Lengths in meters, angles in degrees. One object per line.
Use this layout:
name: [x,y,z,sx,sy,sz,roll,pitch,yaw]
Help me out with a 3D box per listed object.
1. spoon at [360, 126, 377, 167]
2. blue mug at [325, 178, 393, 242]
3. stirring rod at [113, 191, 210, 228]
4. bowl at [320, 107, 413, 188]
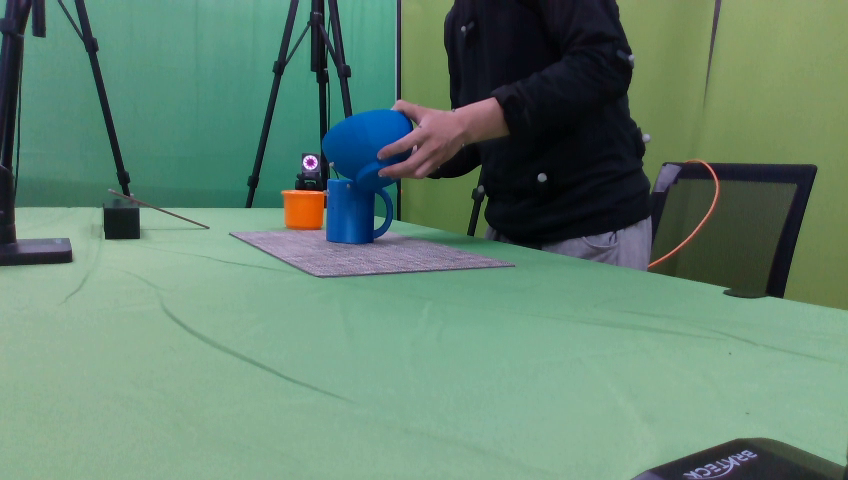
spoon: [-0.102,-0.173,1.060,0.022,0.041,0.193,-16,28,-7]
blue mug: [-0.111,-0.052,1.034,0.116,0.106,0.082,3,7,7]
stirring rod: [-0.484,-0.055,1.121,0.177,0.006,0.014,22,-6,-22]
bowl: [-0.080,-0.133,0.949,0.151,0.076,0.151,-17,-17,-5]
